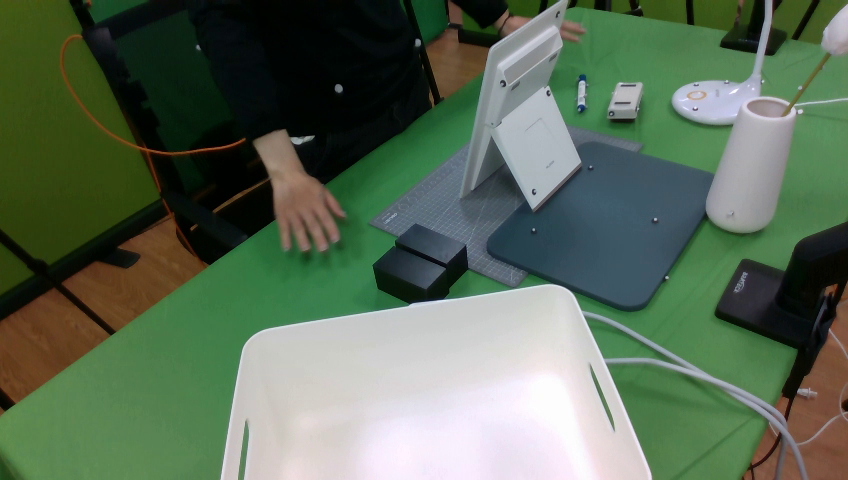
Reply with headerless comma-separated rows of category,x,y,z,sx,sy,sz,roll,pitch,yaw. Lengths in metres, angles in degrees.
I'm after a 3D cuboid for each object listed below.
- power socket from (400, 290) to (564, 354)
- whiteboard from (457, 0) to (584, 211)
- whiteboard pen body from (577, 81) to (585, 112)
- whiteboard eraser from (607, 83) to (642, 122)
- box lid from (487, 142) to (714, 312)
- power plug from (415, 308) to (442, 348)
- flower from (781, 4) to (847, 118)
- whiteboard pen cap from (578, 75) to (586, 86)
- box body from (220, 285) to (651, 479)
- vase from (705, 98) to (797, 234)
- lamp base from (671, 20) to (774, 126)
power socket,0.079,0.111,0.823,0.227,0.033,0.072,-6,41,1
whiteboard,0.193,-0.191,0.983,0.143,0.306,0.218,36,55,21
whiteboard pen body,0.335,-0.313,1.292,0.017,0.017,0.140,3,40,12
whiteboard eraser,0.406,-0.277,1.222,0.055,0.042,0.112,9,43,22
box lid,0.298,-0.041,0.986,0.261,0.015,0.372,23,49,30
power plug,0.004,0.121,0.786,0.035,0.053,0.072,1,45,9
flower,0.480,-0.157,0.823,0.044,0.362,0.038,-8,56,-9
whiteboard pen cap,0.349,-0.351,1.334,0.018,0.018,0.033,3,39,12
box body,0.005,0.211,0.616,0.364,0.161,0.252,-9,40,-2
vase,0.480,-0.104,0.888,0.098,0.201,0.097,-4,42,4
lamp base,0.581,-0.332,1.154,0.179,0.181,0.160,2,41,7
